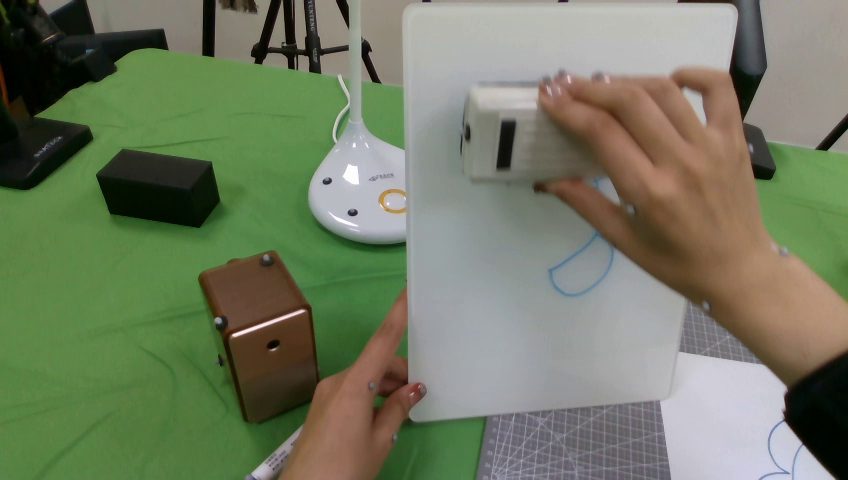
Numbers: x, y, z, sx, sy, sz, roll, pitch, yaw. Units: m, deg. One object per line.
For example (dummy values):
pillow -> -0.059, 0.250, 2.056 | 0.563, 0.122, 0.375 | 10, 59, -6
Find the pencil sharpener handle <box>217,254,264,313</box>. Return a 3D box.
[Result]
pencil sharpener handle -> -0.148, 0.030, 0.488 | 0.036, 0.068, 0.030 | -25, 48, -18

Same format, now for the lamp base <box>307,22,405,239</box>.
lamp base -> -0.052, -0.120, 0.630 | 0.161, 0.182, 0.177 | -23, 46, -28

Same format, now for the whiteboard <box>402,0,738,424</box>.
whiteboard -> 0.087, -0.030, 0.488 | 0.217, 0.307, 0.142 | -3, 23, -7

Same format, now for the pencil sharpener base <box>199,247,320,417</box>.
pencil sharpener base -> -0.125, 0.070, 0.464 | 0.061, 0.108, 0.076 | -19, 46, -24

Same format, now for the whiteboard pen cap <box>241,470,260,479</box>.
whiteboard pen cap -> -0.122, 0.170, 0.405 | 0.018, 0.018, 0.033 | 28, 42, 25

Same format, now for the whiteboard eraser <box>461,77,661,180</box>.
whiteboard eraser -> 0.079, -0.067, 0.361 | 0.113, 0.056, 0.041 | -3, 29, -8

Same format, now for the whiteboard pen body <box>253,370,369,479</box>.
whiteboard pen body -> -0.089, 0.143, 0.447 | 0.017, 0.017, 0.140 | 26, 42, 24
